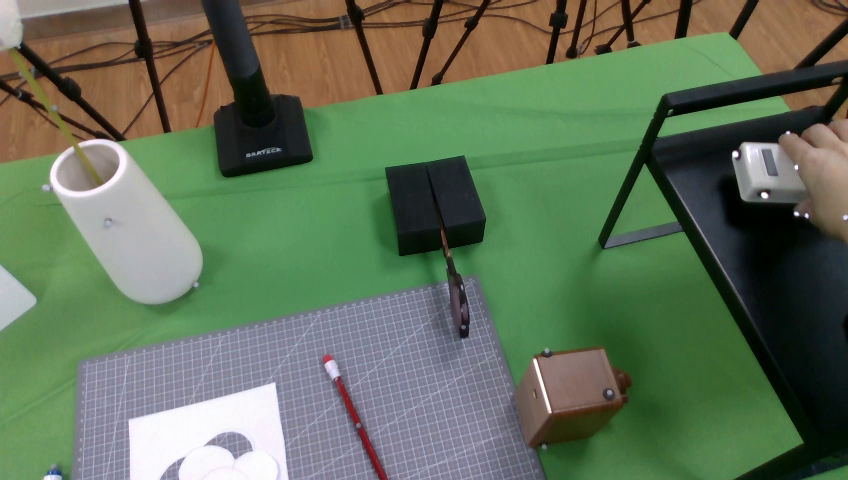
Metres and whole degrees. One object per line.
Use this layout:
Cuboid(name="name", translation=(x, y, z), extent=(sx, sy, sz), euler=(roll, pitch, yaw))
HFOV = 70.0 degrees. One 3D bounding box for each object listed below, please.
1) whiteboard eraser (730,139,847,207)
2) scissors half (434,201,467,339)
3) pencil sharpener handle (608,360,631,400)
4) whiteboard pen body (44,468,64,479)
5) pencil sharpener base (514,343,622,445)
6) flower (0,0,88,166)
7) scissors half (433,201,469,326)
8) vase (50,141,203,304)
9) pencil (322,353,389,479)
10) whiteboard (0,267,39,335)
Cuboid(name="whiteboard eraser", translation=(0.338, -0.059, 0.546), extent=(0.112, 0.042, 0.055), euler=(4, 63, 3))
Cuboid(name="scissors half", translation=(0.027, 0.030, 0.694), extent=(0.013, 0.040, 0.173), euler=(-8, 67, -5))
Cuboid(name="pencil sharpener handle", translation=(0.189, 0.139, 0.586), extent=(0.031, 0.068, 0.035), euler=(-7, 53, -9))
Cuboid(name="whiteboard pen body", translation=(-0.353, 0.282, 0.555), extent=(0.017, 0.017, 0.139), euler=(-6, 56, -4))
Cuboid(name="pencil sharpener base", translation=(0.138, 0.151, 0.589), extent=(0.077, 0.108, 0.061), euler=(-7, 57, -9))
Cuboid(name="flower", translation=(-0.317, -0.067, 0.571), extent=(0.044, 0.365, 0.038), euler=(-18, 42, -8))
Cuboid(name="scissors half", translation=(0.028, 0.019, 0.677), extent=(0.013, 0.040, 0.173), euler=(-5, 49, -9))
Cuboid(name="vase", translation=(-0.306, -0.013, 0.635), extent=(0.098, 0.202, 0.097), euler=(0, 57, 1))
Cuboid(name="pencil", translation=(-0.062, 0.198, 0.615), extent=(0.012, 0.012, 0.192), euler=(-24, 63, -15))
Cuboid(name="whiteboard", translation=(-0.598, 0.012, 0.590), extent=(0.142, 0.309, 0.217), euler=(27, 60, 38))
